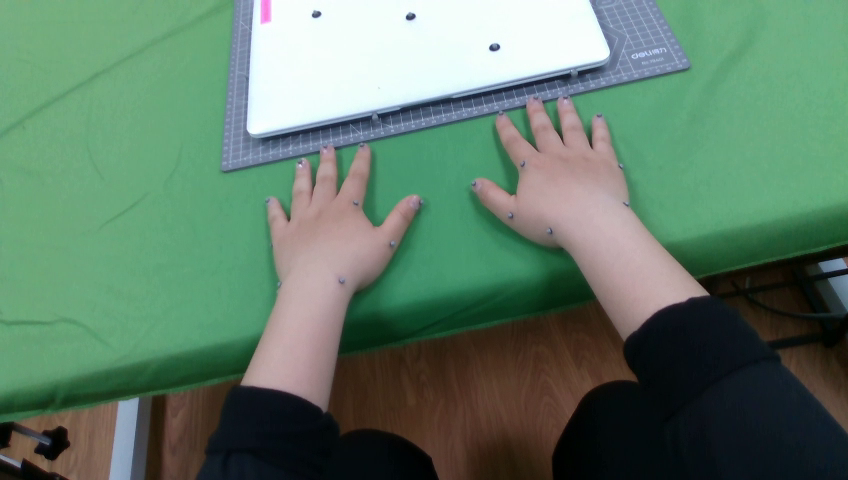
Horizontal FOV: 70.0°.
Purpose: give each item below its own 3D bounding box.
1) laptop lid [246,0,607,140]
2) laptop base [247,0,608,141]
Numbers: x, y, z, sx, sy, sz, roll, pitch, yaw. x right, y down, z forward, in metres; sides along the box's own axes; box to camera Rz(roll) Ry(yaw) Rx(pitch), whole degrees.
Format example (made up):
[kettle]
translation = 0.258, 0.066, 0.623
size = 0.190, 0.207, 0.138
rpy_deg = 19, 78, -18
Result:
[laptop lid]
translation = -0.013, -0.224, 0.630
size = 0.356, 0.013, 0.239
rpy_deg = -10, 57, 5
[laptop base]
translation = -0.011, -0.220, 0.641
size = 0.354, 0.023, 0.233
rpy_deg = -11, 58, 4
